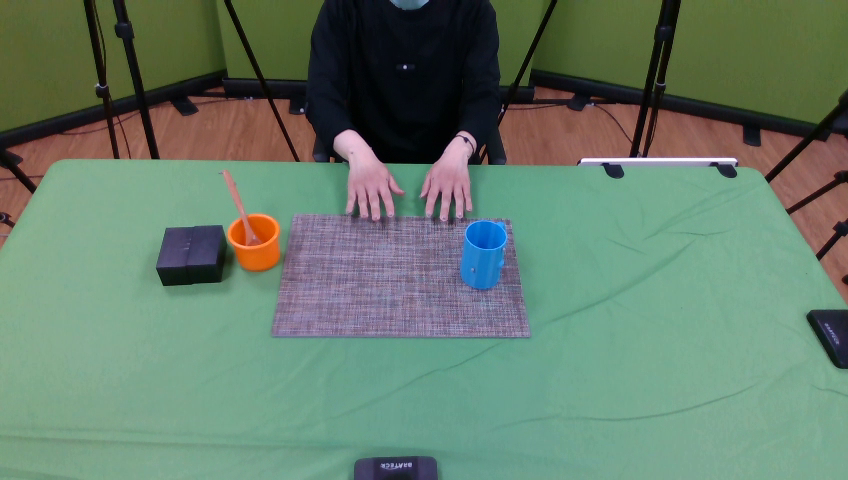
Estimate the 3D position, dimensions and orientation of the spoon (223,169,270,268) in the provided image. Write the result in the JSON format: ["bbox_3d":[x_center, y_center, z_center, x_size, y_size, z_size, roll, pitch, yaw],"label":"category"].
[{"bbox_3d":[-0.333,-0.040,1.124,0.041,0.194,0.021,-20,7,-17],"label":"spoon"}]

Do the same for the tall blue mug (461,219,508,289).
[{"bbox_3d":[0.111,0.016,1.122,0.078,0.108,0.106,6,46,4],"label":"tall blue mug"}]
